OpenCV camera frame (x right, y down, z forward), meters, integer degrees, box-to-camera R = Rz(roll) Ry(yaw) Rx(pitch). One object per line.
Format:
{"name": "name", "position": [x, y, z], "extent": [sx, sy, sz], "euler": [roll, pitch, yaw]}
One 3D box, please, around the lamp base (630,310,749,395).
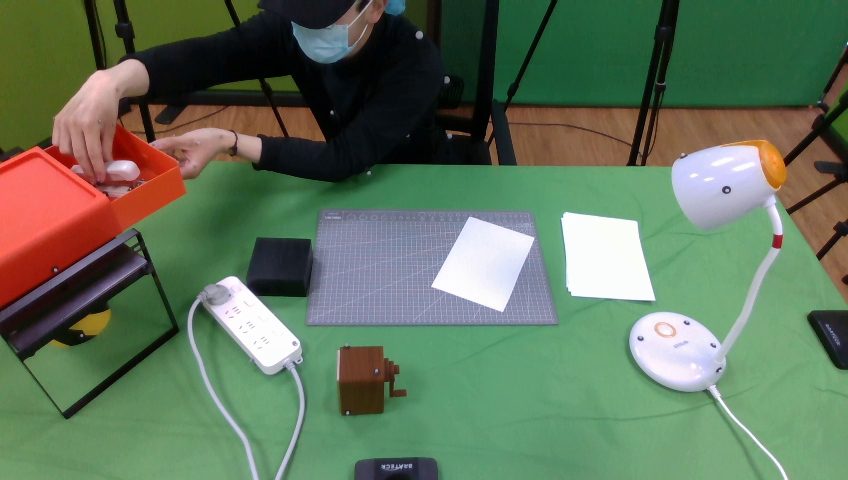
{"name": "lamp base", "position": [0.447, 0.142, 0.984], "extent": [0.161, 0.181, 0.178], "euler": [-24, 55, -24]}

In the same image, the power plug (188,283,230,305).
{"name": "power plug", "position": [-0.368, 0.099, 1.037], "extent": [0.072, 0.053, 0.035], "euler": [-23, 52, -25]}

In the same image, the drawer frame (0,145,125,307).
{"name": "drawer frame", "position": [-0.597, -0.024, 0.887], "extent": [0.201, 0.083, 0.213], "euler": [30, 52, 22]}

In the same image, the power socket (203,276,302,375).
{"name": "power socket", "position": [-0.297, 0.141, 1.034], "extent": [0.072, 0.033, 0.225], "euler": [-34, 58, -30]}

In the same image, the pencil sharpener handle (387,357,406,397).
{"name": "pencil sharpener handle", "position": [-0.041, 0.209, 0.919], "extent": [0.031, 0.068, 0.036], "euler": [-1, 25, -6]}

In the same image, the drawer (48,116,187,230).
{"name": "drawer", "position": [-0.524, -0.088, 0.958], "extent": [0.193, 0.073, 0.211], "euler": [31, 53, 23]}

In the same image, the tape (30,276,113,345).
{"name": "tape", "position": [-0.594, 0.117, 1.022], "extent": [0.117, 0.053, 0.116], "euler": [2, 45, -2]}

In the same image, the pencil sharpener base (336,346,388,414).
{"name": "pencil sharpener base", "position": [-0.094, 0.215, 0.927], "extent": [0.077, 0.107, 0.061], "euler": [-1, 46, -6]}

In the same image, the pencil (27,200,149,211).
{"name": "pencil", "position": [-0.527, -0.053, 0.952], "extent": [0.194, 0.012, 0.012], "euler": [3, 46, 2]}

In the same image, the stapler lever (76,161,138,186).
{"name": "stapler lever", "position": [-0.516, -0.109, 0.975], "extent": [0.118, 0.040, 0.026], "euler": [5, 43, 11]}

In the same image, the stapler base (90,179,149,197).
{"name": "stapler base", "position": [-0.512, -0.093, 0.991], "extent": [0.130, 0.024, 0.041], "euler": [3, 43, 13]}

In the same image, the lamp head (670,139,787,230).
{"name": "lamp head", "position": [0.415, -0.079, 0.812], "extent": [0.113, 0.123, 0.112], "euler": [13, 70, -37]}
